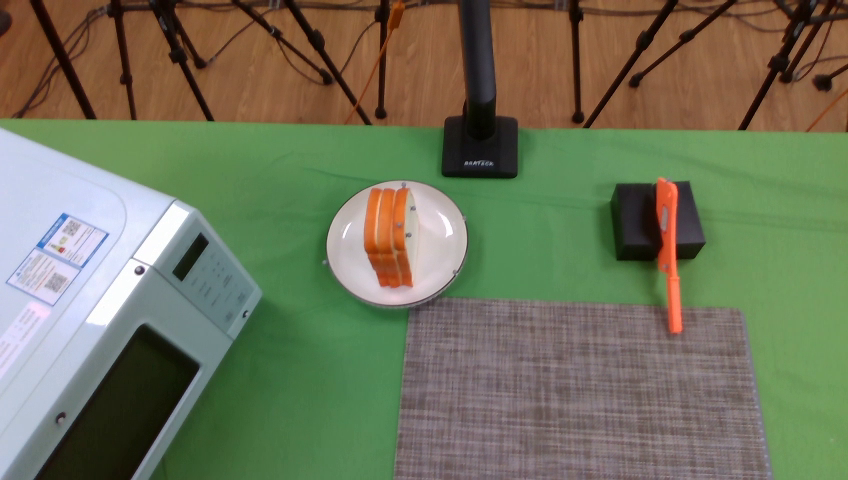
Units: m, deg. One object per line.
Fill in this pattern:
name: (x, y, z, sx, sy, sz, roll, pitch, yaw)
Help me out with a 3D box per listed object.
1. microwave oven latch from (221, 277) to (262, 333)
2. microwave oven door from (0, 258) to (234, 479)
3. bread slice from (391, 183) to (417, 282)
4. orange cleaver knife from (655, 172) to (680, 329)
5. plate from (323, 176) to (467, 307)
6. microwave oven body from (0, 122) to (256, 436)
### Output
microwave oven latch: (-0.255, 0.086, 0.834, 0.030, 0.030, 0.079, 22, 67, 14)
microwave oven door: (-0.356, 0.217, 0.660, 0.039, 0.246, 0.354, 21, 66, 15)
bread slice: (-0.026, -0.012, 0.826, 0.018, 0.135, 0.106, -1, 66, 6)
orange cleaver knife: (0.328, 0.012, 0.822, 0.012, 0.077, 0.211, -3, 92, 2)
plate: (-0.041, 0.004, 0.882, 0.207, 0.039, 0.206, -1, 63, 3)
microwave oven body: (-0.471, 0.135, 0.716, 0.325, 0.262, 0.439, 21, 67, 14)
